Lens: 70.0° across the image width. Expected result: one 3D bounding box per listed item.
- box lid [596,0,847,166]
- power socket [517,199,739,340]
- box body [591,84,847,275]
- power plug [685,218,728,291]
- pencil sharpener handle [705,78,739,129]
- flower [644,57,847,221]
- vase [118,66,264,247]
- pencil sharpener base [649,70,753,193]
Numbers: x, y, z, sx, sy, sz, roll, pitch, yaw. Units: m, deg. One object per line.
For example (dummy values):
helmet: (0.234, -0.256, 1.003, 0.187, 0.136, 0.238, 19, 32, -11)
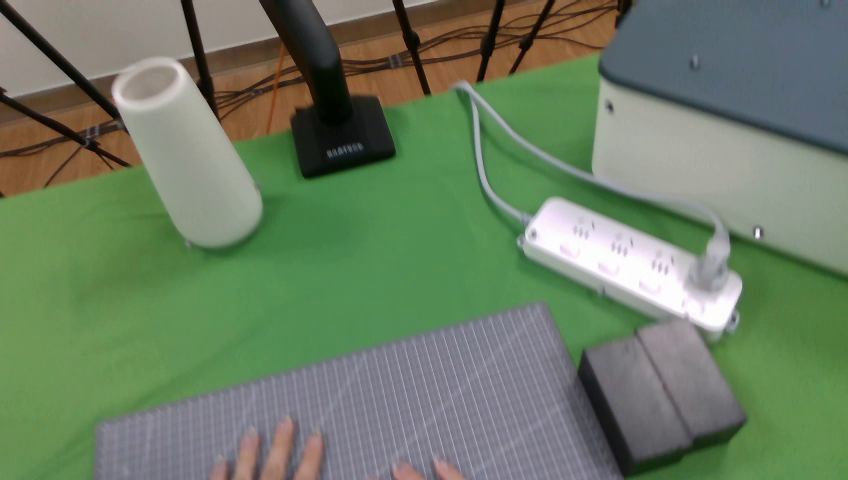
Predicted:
box lid: (0.381, -0.173, 0.576, 0.369, 0.015, 0.262, 24, 60, 21)
power socket: (0.206, 0.025, 0.620, 0.225, 0.033, 0.072, 27, 60, 24)
box body: (0.386, -0.130, 0.636, 0.361, 0.162, 0.253, 24, 59, 21)
power plug: (0.282, 0.022, 0.586, 0.072, 0.053, 0.035, -38, 56, -26)
pencil sharpener handle: (0.332, -0.157, 0.671, 0.035, 0.068, 0.030, 27, 59, 30)
flower: (0.396, -0.097, 0.699, 0.044, 0.038, 0.358, -42, 64, 4)
vase: (-0.239, -0.081, 0.639, 0.098, 0.202, 0.097, -2, 52, 3)
pencil sharpener base: (0.300, -0.117, 0.660, 0.061, 0.108, 0.076, 31, 61, 25)
